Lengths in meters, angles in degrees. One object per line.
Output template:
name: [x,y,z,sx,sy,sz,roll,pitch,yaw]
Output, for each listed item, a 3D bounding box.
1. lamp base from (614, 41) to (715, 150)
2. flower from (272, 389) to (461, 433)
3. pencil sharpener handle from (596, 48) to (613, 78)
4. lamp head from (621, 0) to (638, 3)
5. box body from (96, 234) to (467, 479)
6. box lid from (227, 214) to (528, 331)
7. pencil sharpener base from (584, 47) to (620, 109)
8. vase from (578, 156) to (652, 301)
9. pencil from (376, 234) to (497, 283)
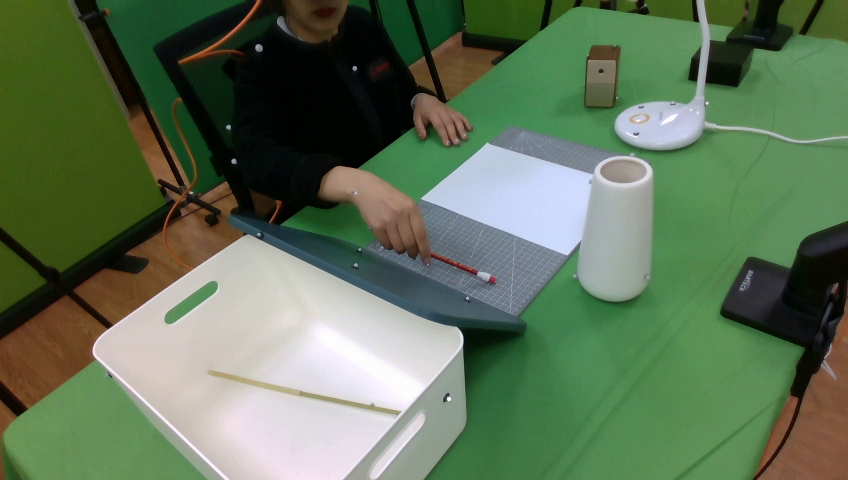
lamp base: [0.449,-0.277,1.106,0.179,0.181,0.160,1,41,9]
flower: [-0.122,0.202,0.770,0.360,0.038,0.044,2,77,22]
pencil sharpener handle: [0.383,-0.378,1.276,0.036,0.068,0.030,2,41,22]
lamp head: [0.319,-0.453,0.962,0.113,0.123,0.112,20,33,-13]
box body: [-0.155,0.169,0.707,0.361,0.161,0.255,23,49,33]
box lid: [-0.062,0.044,0.813,0.368,0.265,0.015,22,93,32]
pencil sharpener base: [0.367,-0.336,1.248,0.061,0.107,0.076,6,42,19]
vase: [0.261,-0.011,0.812,0.098,0.201,0.097,-4,40,4]
pencil: [0.018,0.026,0.904,0.194,0.012,0.012,21,45,2]
